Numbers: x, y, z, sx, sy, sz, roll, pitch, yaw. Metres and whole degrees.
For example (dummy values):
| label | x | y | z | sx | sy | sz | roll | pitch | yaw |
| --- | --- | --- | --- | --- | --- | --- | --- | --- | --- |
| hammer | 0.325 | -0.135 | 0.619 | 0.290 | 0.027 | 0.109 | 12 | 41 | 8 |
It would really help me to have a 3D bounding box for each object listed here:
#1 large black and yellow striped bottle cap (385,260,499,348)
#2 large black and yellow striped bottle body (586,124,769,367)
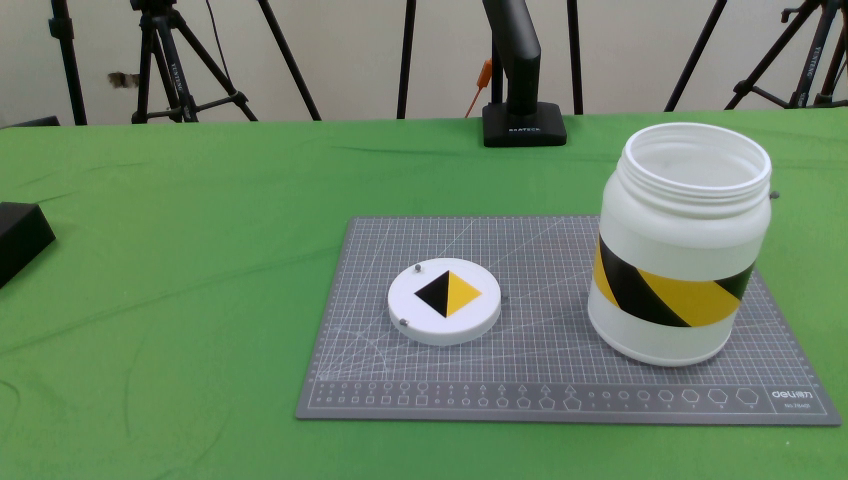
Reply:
| label | x | y | z | sx | sy | sz | roll | pitch | yaw |
| --- | --- | --- | --- | --- | --- | --- | --- | --- | --- |
| large black and yellow striped bottle cap | 0.018 | 0.061 | 0.613 | 0.115 | 0.019 | 0.114 | -1 | 38 | 1 |
| large black and yellow striped bottle body | 0.216 | 0.005 | 0.531 | 0.131 | 0.185 | 0.129 | -2 | 37 | 2 |
